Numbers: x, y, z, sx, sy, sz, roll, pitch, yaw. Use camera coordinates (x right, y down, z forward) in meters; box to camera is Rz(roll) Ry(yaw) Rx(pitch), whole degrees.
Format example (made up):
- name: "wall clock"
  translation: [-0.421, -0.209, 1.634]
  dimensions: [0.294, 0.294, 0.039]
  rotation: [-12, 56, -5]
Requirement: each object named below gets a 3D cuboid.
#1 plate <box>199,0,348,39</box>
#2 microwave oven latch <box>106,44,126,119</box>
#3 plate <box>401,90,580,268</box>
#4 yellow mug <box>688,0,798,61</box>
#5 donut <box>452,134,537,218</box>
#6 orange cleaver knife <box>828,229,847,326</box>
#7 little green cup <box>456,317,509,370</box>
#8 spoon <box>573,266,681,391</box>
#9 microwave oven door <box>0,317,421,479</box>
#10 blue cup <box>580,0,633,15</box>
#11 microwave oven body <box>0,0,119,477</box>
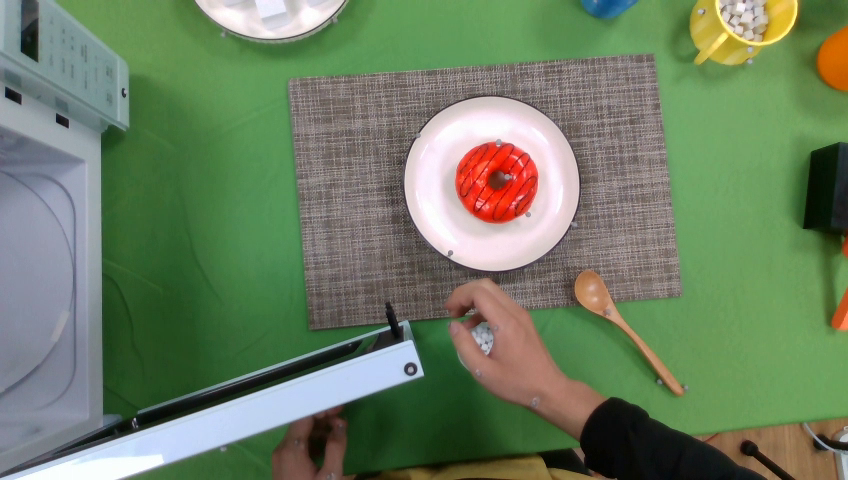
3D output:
- name: "plate"
  translation: [-0.176, -0.336, 0.718]
  dimensions: [0.208, 0.039, 0.207]
  rotation: [0, 87, -3]
- name: "microwave oven latch"
  translation: [-0.352, -0.178, 0.681]
  dimensions: [0.030, 0.029, 0.079]
  rotation: [0, 87, -3]
- name: "plate"
  translation: [0.077, -0.070, 0.712]
  dimensions: [0.209, 0.038, 0.208]
  rotation: [0, 87, -3]
- name: "yellow mug"
  translation: [0.371, -0.265, 0.727]
  dimensions: [0.100, 0.064, 0.131]
  rotation: [43, 87, 0]
- name: "donut"
  translation: [0.082, -0.073, 0.701]
  dimensions: [0.099, 0.048, 0.099]
  rotation: [0, 88, -1]
- name: "orange cleaver knife"
  translation: [0.520, 0.001, 0.712]
  dimensions: [0.012, 0.076, 0.212]
  rotation: [10, 115, 0]
- name: "little green cup"
  translation: [0.066, 0.119, 0.705]
  dimensions: [0.061, 0.038, 0.061]
  rotation: [0, 85, -2]
- name: "spoon"
  translation: [0.243, 0.108, 0.720]
  dimensions: [0.041, 0.021, 0.194]
  rotation: [-42, 91, -21]
- name: "microwave oven door"
  translation: [-0.176, 0.151, 0.571]
  dimensions: [0.356, 0.244, 0.039]
  rotation: [-18, 86, -4]
- name: "blue cup"
  translation: [0.223, -0.311, 0.705]
  dimensions: [0.093, 0.100, 0.092]
  rotation: [0, 88, -3]
- name: "microwave oven body"
  translation: [-0.490, -0.003, 0.568]
  dimensions: [0.326, 0.260, 0.441]
  rotation: [-2, 87, -3]
